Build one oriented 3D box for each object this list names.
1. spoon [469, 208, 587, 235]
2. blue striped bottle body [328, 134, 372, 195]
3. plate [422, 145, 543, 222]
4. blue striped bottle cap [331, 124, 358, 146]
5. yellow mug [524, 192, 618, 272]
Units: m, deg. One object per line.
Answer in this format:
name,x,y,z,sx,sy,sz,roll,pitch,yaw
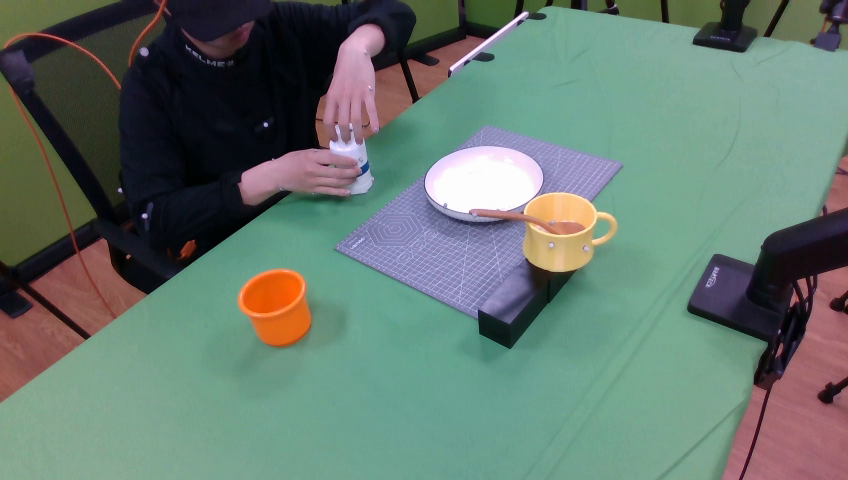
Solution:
spoon,0.143,-0.026,0.817,0.195,0.021,0.041,12,34,-29
blue striped bottle body,-0.134,-0.145,1.082,0.063,0.121,0.063,-4,41,4
plate,0.101,-0.094,1.048,0.207,0.039,0.206,-4,41,4
blue striped bottle cap,-0.139,-0.183,1.048,0.044,0.021,0.044,-4,39,4
yellow mug,0.206,-0.014,0.845,0.131,0.064,0.099,-4,40,2
